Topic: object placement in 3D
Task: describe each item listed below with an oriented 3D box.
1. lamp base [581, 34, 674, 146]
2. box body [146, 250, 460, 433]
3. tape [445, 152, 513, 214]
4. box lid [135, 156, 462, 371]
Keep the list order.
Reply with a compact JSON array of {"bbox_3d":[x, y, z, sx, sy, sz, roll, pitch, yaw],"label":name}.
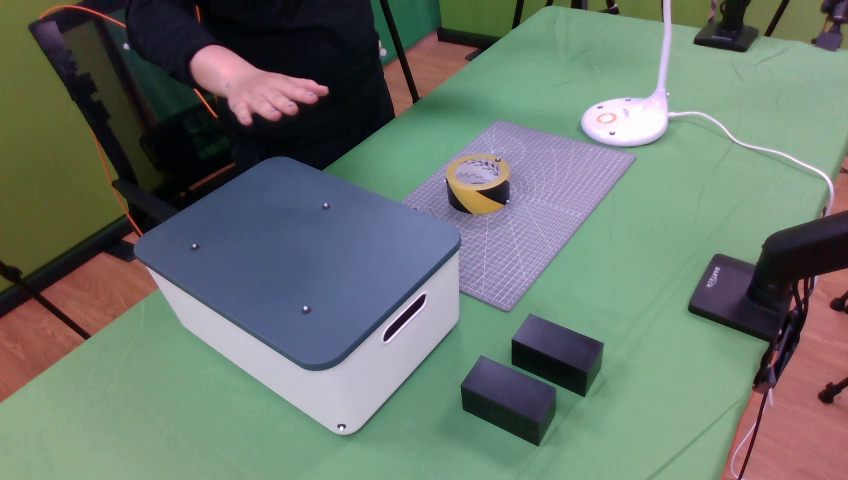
[{"bbox_3d":[0.392,-0.291,1.129,0.180,0.181,0.159,-11,41,-8],"label":"lamp base"},{"bbox_3d":[-0.156,0.058,0.814,0.361,0.161,0.255,24,49,31],"label":"box body"},{"bbox_3d":[0.095,-0.099,1.042,0.117,0.053,0.116,-4,41,4],"label":"tape"},{"bbox_3d":[-0.162,0.004,0.765,0.368,0.015,0.264,24,49,31],"label":"box lid"}]
